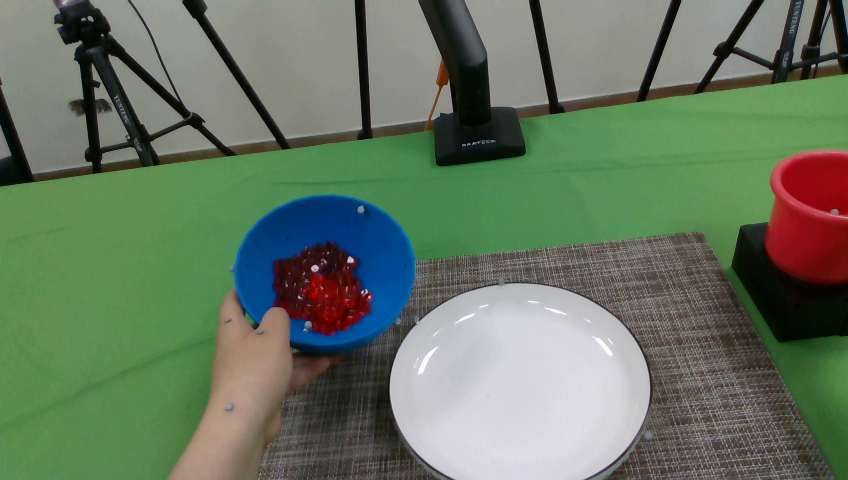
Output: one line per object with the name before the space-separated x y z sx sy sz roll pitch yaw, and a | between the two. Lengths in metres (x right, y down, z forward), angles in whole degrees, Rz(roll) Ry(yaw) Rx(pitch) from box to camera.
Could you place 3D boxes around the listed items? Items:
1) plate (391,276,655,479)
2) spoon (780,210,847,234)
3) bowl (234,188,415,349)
plate | 0.078 0.114 0.497 0.207 0.039 0.205 -6 40 5
spoon | 0.331 -0.027 0.433 0.041 0.194 0.021 -18 82 -8
bowl | -0.085 0.037 0.538 0.151 0.077 0.150 3 57 -5
